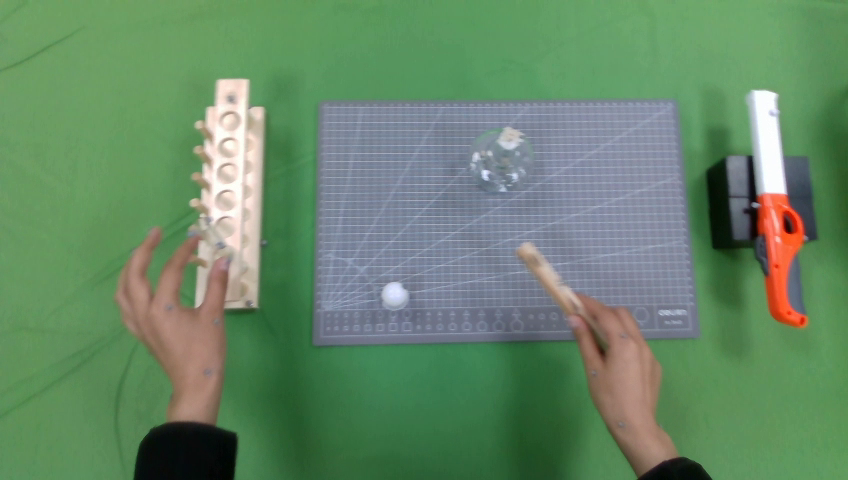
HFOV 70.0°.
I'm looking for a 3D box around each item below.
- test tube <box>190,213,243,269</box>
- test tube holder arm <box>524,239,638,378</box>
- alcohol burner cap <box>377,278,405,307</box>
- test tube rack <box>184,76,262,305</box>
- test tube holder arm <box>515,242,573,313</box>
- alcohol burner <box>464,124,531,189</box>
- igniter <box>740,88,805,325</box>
[{"bbox_3d":[-0.207,0.005,0.617,0.017,0.151,0.017,1,72,-3],"label":"test tube"},{"bbox_3d":[0.161,0.071,0.634,0.013,0.015,0.178,-38,83,-22],"label":"test tube holder arm"},{"bbox_3d":[-0.037,0.058,0.684,0.034,0.048,0.033,1,78,-3],"label":"alcohol burner cap"},{"bbox_3d":[-0.228,-0.052,0.678,0.067,0.085,0.241,-1,79,-2],"label":"test tube rack"},{"bbox_3d":[0.128,0.040,0.637,0.010,0.015,0.087,-36,83,-21],"label":"test tube holder arm"},{"bbox_3d":[0.085,-0.100,0.684,0.078,0.119,0.077,0,79,0],"label":"alcohol burner"},{"bbox_3d":[0.392,-0.042,0.685,0.057,0.025,0.275,1,76,-5],"label":"igniter"}]
